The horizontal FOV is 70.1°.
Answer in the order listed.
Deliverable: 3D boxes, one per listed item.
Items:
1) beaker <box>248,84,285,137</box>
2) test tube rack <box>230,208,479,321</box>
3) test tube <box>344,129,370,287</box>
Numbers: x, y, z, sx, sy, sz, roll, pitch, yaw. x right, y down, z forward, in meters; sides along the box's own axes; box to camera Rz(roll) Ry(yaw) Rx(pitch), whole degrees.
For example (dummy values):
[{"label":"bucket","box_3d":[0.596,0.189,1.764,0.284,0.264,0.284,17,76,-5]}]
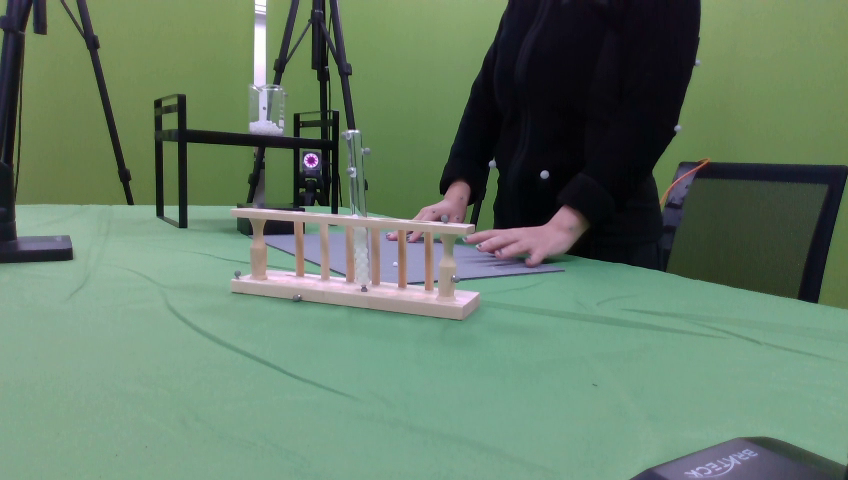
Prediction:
[{"label":"beaker","box_3d":[-0.321,-0.261,1.225,0.074,0.100,0.084,3,8,3]},{"label":"test tube rack","box_3d":[-0.069,0.017,0.598,0.242,0.085,0.067,5,8,18]},{"label":"test tube","box_3d":[-0.063,-0.029,0.571,0.017,0.150,0.017,-3,9,1]}]
